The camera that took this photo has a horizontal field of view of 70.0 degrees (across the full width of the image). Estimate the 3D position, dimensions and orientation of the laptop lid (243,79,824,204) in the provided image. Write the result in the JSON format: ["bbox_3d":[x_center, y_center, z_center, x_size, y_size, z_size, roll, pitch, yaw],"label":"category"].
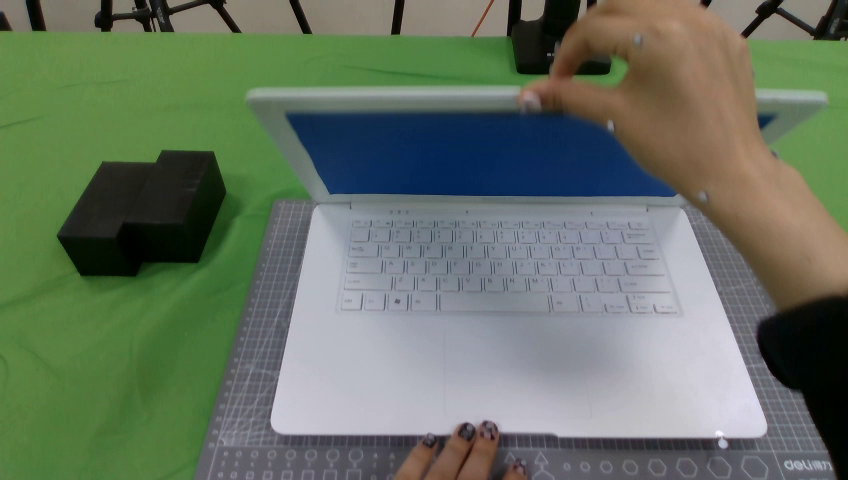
[{"bbox_3d":[0.067,-0.065,0.468,0.357,0.243,0.013,0,76,1],"label":"laptop lid"}]

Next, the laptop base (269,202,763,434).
[{"bbox_3d":[0.066,0.054,0.506,0.354,0.023,0.233,0,49,0],"label":"laptop base"}]
